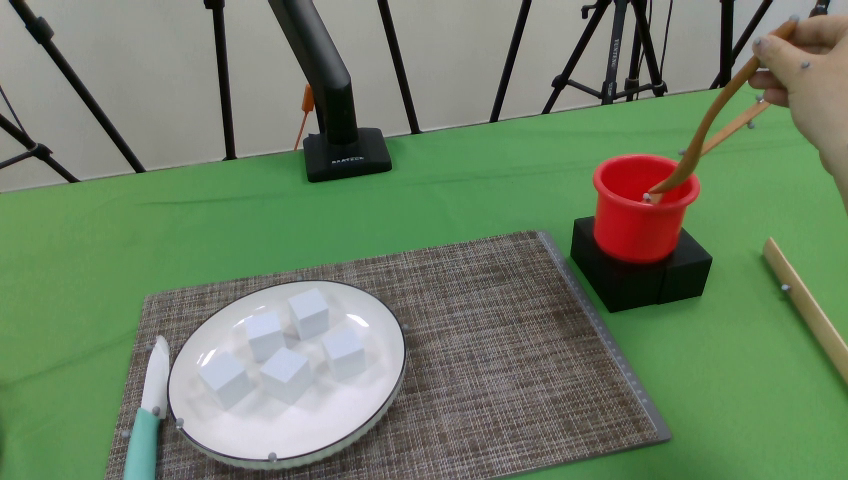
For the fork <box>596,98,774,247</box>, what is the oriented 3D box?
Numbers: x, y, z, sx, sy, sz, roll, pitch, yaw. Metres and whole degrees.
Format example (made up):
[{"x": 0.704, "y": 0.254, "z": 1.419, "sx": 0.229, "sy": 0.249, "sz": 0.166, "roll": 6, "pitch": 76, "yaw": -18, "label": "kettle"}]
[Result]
[{"x": 0.254, "y": -0.064, "z": 0.594, "sx": 0.207, "sy": 0.019, "sz": 0.028, "roll": -46, "pitch": 30, "yaw": 15, "label": "fork"}]

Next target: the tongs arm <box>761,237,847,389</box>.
[{"x": 0.382, "y": 0.123, "z": 0.520, "sx": 0.028, "sy": 0.028, "sz": 0.383, "roll": -1, "pitch": 38, "yaw": 0, "label": "tongs arm"}]

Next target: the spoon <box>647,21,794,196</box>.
[{"x": 0.233, "y": -0.095, "z": 0.492, "sx": 0.041, "sy": 0.195, "sz": 0.021, "roll": -27, "pitch": 62, "yaw": -24, "label": "spoon"}]

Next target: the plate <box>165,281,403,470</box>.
[{"x": -0.122, "y": 0.119, "z": 0.549, "sx": 0.207, "sy": 0.039, "sz": 0.205, "roll": -2, "pitch": 38, "yaw": 2, "label": "plate"}]

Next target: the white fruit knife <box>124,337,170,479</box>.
[{"x": -0.239, "y": 0.156, "z": 0.530, "sx": 0.027, "sy": 0.016, "sz": 0.205, "roll": 14, "pitch": 29, "yaw": -25, "label": "white fruit knife"}]
